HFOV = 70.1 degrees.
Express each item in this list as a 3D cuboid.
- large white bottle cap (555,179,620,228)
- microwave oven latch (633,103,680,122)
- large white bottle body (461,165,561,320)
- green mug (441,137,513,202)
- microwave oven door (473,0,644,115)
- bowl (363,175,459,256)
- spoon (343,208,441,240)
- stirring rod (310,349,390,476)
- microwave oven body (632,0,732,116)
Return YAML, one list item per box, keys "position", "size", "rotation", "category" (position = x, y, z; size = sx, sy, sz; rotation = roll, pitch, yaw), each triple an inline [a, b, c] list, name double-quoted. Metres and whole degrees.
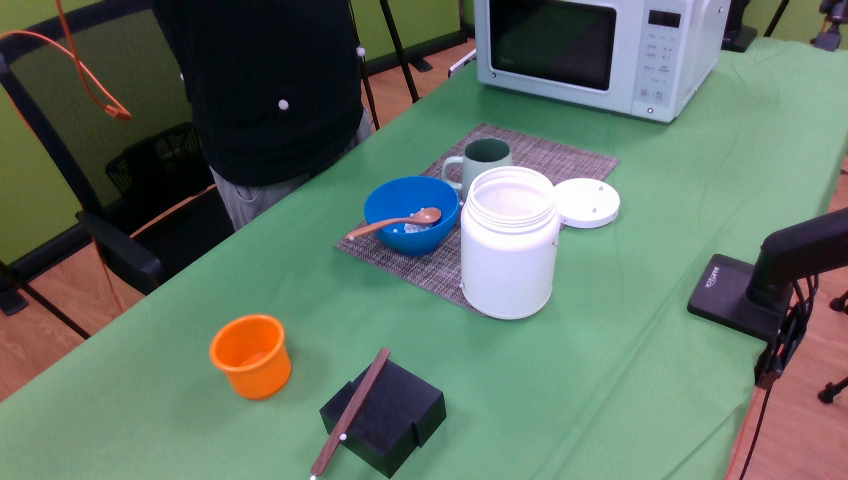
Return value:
- position: [0.265, -0.062, 1.001]
  size: [0.115, 0.018, 0.114]
  rotation: [-3, 41, 3]
  category: "large white bottle cap"
- position: [0.443, -0.249, 1.158]
  size: [0.078, 0.029, 0.030]
  rotation: [21, 49, 30]
  category: "microwave oven latch"
- position: [0.115, 0.004, 0.816]
  size: [0.130, 0.185, 0.130]
  rotation: [-2, 43, 2]
  category: "large white bottle body"
- position: [0.091, -0.108, 1.012]
  size: [0.125, 0.105, 0.092]
  rotation: [2, 42, 11]
  category: "green mug"
- position: [0.257, -0.396, 1.199]
  size: [0.353, 0.245, 0.039]
  rotation: [21, 48, 29]
  category: "microwave oven door"
- position: [-0.016, -0.028, 0.955]
  size: [0.151, 0.077, 0.150]
  rotation: [-4, 40, 4]
  category: "bowl"
- position: [-0.046, -0.025, 0.912]
  size: [0.041, 0.021, 0.195]
  rotation: [27, 27, 37]
  category: "spoon"
- position: [-0.081, 0.191, 0.693]
  size: [0.014, 0.006, 0.176]
  rotation: [8, 41, 24]
  category: "stirring rod"
- position: [0.377, -0.463, 1.267]
  size: [0.438, 0.261, 0.327]
  rotation: [21, 48, 30]
  category: "microwave oven body"
